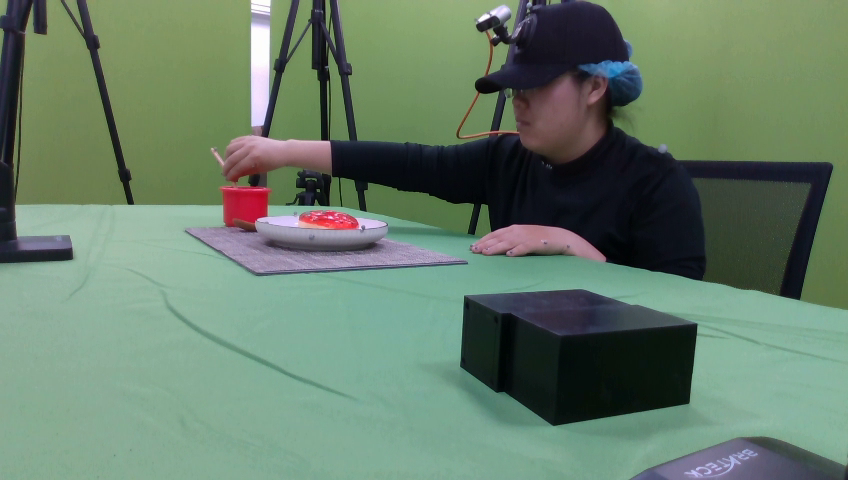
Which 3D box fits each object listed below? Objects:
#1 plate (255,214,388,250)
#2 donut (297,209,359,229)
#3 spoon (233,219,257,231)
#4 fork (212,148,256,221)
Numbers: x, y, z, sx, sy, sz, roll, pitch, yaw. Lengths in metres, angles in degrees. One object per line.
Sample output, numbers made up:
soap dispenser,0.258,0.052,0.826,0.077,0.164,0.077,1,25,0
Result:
plate,-0.161,-0.013,0.961,0.209,0.038,0.209,2,7,0
donut,-0.151,-0.023,0.955,0.099,0.048,0.099,6,7,0
spoon,-0.250,-0.028,1.107,0.195,0.021,0.041,-2,-9,-29
fork,-0.381,-0.112,1.200,0.018,0.206,0.028,-41,-27,20
